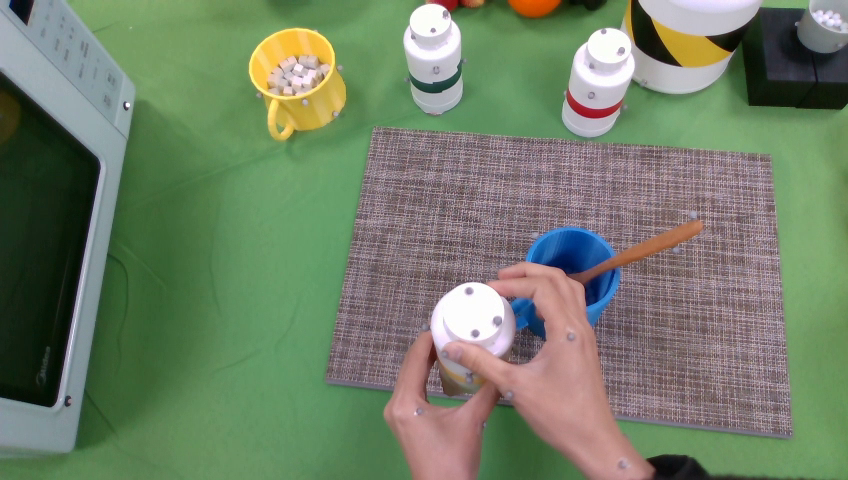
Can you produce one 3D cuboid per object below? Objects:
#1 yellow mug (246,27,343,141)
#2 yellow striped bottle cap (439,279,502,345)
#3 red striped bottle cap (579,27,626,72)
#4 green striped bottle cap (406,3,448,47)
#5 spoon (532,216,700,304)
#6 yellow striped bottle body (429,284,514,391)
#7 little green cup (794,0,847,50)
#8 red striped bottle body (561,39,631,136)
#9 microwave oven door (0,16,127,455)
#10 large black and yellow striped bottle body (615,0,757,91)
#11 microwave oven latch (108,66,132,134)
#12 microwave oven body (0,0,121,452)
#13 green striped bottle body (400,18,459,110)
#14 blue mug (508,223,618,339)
[{"bbox_3d":[-0.156,-0.177,0.713,0.099,0.064,0.130,14,71,10],"label":"yellow mug"},{"bbox_3d":[0.033,0.050,0.424,0.044,0.019,0.044,0,65,1],"label":"yellow striped bottle cap"},{"bbox_3d":[0.179,-0.191,0.606,0.044,0.018,0.044,0,67,0],"label":"red striped bottle cap"},{"bbox_3d":[0.003,-0.226,0.634,0.044,0.020,0.044,-1,67,3],"label":"green striped bottle cap"},{"bbox_3d":[0.157,0.024,0.536,0.022,0.194,0.041,6,64,-31],"label":"spoon"},{"bbox_3d":[0.037,0.073,0.472,0.063,0.121,0.062,-2,63,4],"label":"yellow striped bottle body"},{"bbox_3d":[0.433,-0.237,0.650,0.061,0.039,0.061,-1,66,2],"label":"little green cup"},{"bbox_3d":[0.185,-0.171,0.654,0.063,0.120,0.062,-3,66,6],"label":"red striped bottle body"},{"bbox_3d":[-0.372,-0.001,0.545,0.039,0.245,0.353,-4,68,4],"label":"microwave oven door"},{"bbox_3d":[0.284,-0.264,0.649,0.131,0.185,0.130,-2,68,4],"label":"large black and yellow striped bottle body"},{"bbox_3d":[-0.369,-0.165,0.720,0.030,0.030,0.078,-2,69,3],"label":"microwave oven latch"},{"bbox_3d":[-0.519,-0.029,0.574,0.326,0.262,0.438,-4,69,3],"label":"microwave oven body"},{"bbox_3d":[0.008,-0.206,0.682,0.063,0.120,0.062,-1,68,4],"label":"green striped bottle body"},{"bbox_3d":[0.118,0.051,0.575,0.116,0.106,0.081,-30,68,-7],"label":"blue mug"}]
